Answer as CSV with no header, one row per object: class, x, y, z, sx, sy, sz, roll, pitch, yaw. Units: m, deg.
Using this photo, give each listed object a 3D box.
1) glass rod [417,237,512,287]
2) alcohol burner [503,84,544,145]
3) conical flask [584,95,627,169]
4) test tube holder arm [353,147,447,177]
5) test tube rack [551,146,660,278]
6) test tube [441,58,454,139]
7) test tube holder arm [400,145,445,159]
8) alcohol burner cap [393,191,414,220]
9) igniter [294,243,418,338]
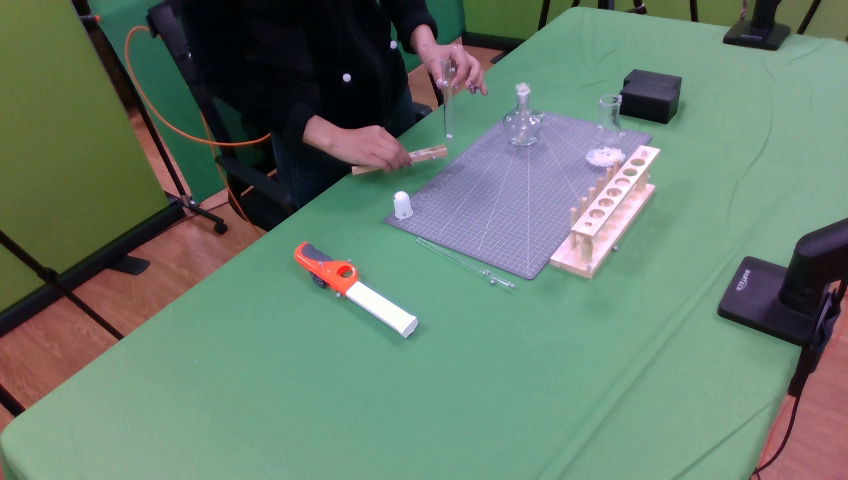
glass rod,0.059,0.033,0.945,0.198,0.008,0.008,26,52,38
alcohol burner,0.191,-0.244,1.160,0.078,0.119,0.077,-4,40,4
conical flask,0.324,-0.192,1.066,0.075,0.122,0.075,-6,40,5
test tube holder arm,-0.042,-0.142,1.097,0.179,0.015,0.013,-16,36,-14
test tube rack,0.286,-0.053,0.943,0.066,0.085,0.243,21,49,32
test tube,0.041,-0.243,1.055,0.017,0.151,0.017,-3,39,3
test tube holder arm,-0.002,-0.157,1.113,0.088,0.015,0.010,-16,36,-14
alcohol burner cap,-0.037,-0.062,1.045,0.034,0.048,0.033,-5,41,5
igniter,-0.114,0.070,0.919,0.274,0.025,0.057,29,63,37
